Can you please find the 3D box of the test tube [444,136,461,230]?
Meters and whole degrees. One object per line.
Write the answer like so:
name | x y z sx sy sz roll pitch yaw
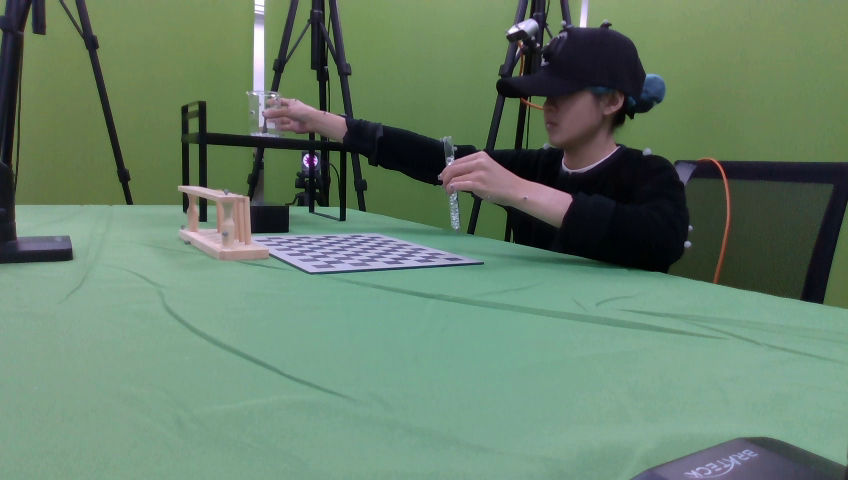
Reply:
test tube | 0.046 -0.090 0.964 0.017 0.150 0.017 -5 6 1

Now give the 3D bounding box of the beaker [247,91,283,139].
beaker | -0.357 -0.278 1.348 0.073 0.100 0.084 8 10 39

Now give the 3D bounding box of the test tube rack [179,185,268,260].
test tube rack | -0.303 -0.031 0.898 0.067 0.085 0.241 -2 9 -33
